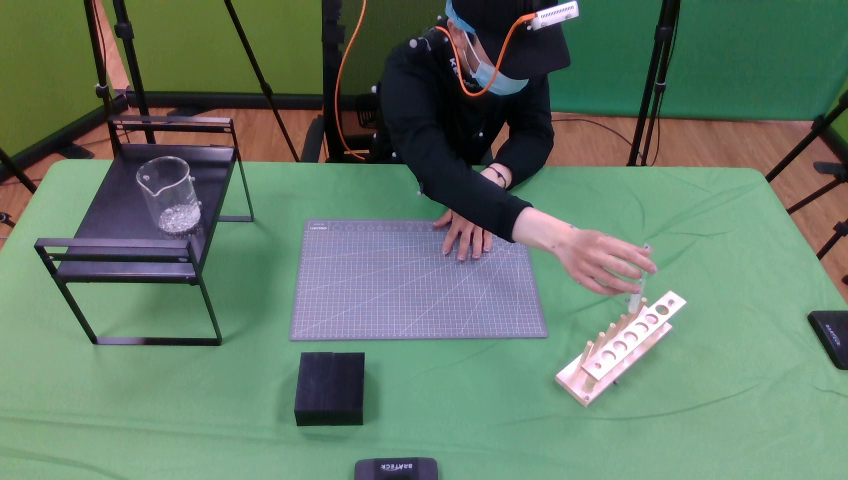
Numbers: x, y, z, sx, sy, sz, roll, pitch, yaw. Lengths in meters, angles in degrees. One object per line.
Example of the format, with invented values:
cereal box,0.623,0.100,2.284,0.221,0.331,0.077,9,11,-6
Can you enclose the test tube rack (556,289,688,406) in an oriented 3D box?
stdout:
test tube rack,0.332,0.166,1.014,0.242,0.085,0.066,-30,55,-28

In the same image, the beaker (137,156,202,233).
beaker,-0.385,-0.065,0.925,0.074,0.101,0.083,2,47,-1

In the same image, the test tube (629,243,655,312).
test tube,0.335,0.061,0.936,0.017,0.151,0.017,-3,44,3
